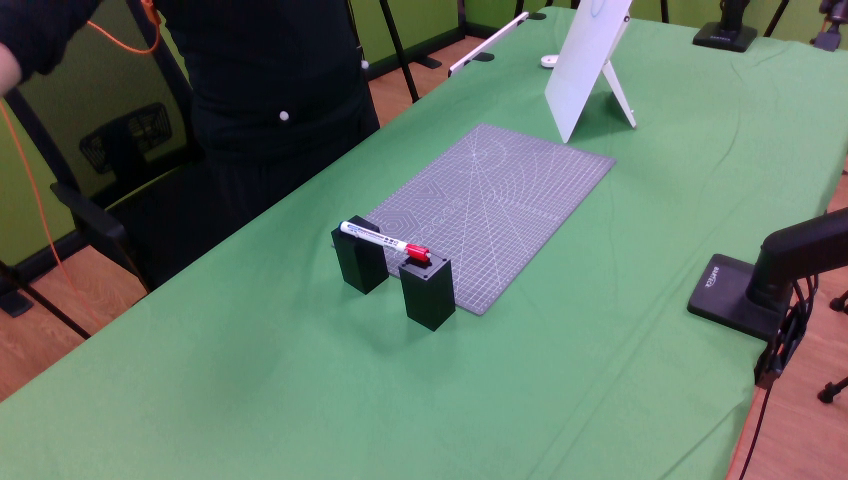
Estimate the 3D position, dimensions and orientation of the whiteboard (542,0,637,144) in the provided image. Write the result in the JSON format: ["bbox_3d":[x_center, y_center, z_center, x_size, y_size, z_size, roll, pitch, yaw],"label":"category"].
[{"bbox_3d":[0.366,-0.351,1.160,0.144,0.305,0.216,10,39,-10],"label":"whiteboard"}]

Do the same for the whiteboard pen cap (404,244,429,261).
[{"bbox_3d":[-0.010,0.015,0.801,0.032,0.017,0.017,17,46,29],"label":"whiteboard pen cap"}]

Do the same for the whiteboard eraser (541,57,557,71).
[{"bbox_3d":[0.323,-0.412,1.408,0.101,0.019,0.041,1,42,11],"label":"whiteboard eraser"}]

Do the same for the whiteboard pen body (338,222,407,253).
[{"bbox_3d":[-0.061,-0.001,0.828,0.139,0.017,0.017,18,46,28],"label":"whiteboard pen body"}]
